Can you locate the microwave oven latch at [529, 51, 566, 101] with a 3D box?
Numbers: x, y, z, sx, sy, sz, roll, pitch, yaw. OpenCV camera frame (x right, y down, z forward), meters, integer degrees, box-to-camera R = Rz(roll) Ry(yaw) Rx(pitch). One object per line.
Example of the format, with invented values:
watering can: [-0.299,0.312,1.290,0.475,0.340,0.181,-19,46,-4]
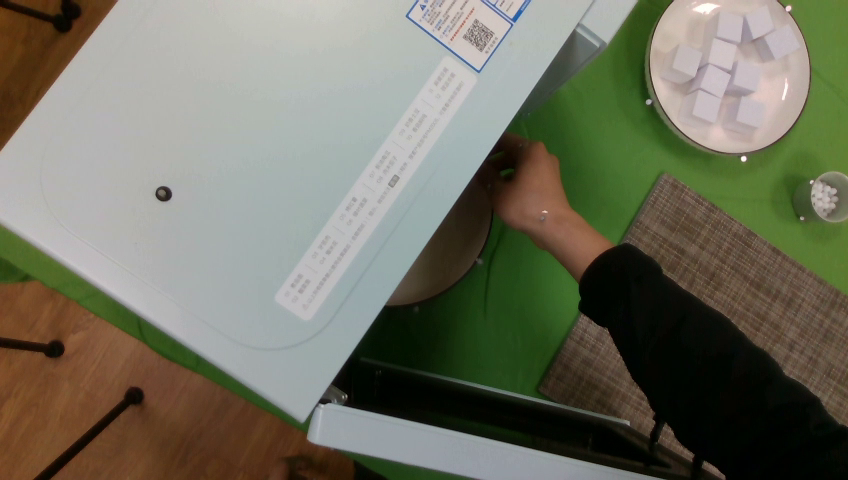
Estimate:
microwave oven latch: [0.123,-0.184,0.675,0.030,0.029,0.079,40,85,-6]

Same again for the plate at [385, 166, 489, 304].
plate: [-0.041,-0.042,0.595,0.209,0.038,0.208,1,85,-9]

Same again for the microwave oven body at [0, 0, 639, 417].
microwave oven body: [-0.087,-0.128,0.549,0.327,0.260,0.441,36,85,-6]

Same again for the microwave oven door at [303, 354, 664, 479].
microwave oven door: [0.072,0.174,0.560,0.357,0.243,0.039,15,85,-7]

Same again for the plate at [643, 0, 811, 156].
plate: [0.357,-0.202,0.726,0.208,0.039,0.207,0,89,-8]

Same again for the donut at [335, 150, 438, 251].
donut: [-0.036,-0.037,0.584,0.099,0.048,0.099,0,88,-7]

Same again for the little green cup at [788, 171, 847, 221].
little green cup: [0.481,-0.052,0.740,0.062,0.038,0.061,0,88,-7]
